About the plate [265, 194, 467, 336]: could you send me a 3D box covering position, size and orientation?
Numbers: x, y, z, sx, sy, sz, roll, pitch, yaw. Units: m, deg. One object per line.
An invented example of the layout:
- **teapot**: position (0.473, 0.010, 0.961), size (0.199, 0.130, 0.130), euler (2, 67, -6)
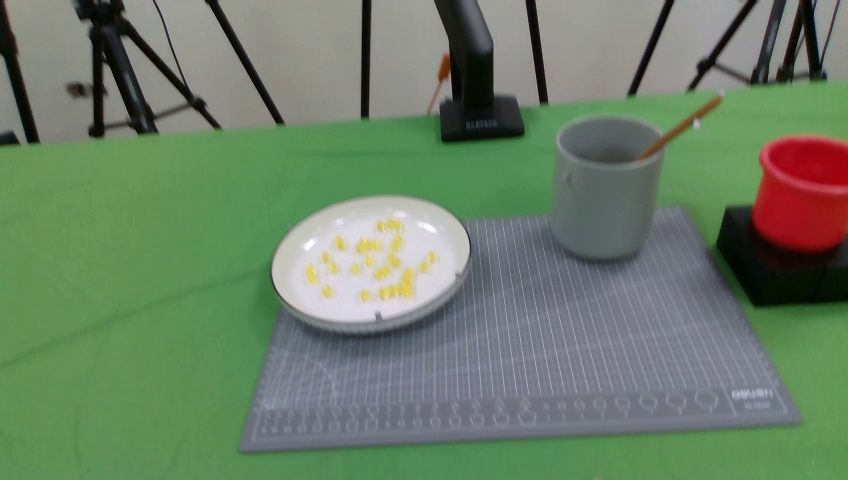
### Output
- **plate**: position (-0.058, 0.026, 0.634), size (0.207, 0.039, 0.205), euler (-3, 39, 3)

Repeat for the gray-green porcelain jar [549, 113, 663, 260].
- **gray-green porcelain jar**: position (0.184, -0.051, 0.628), size (0.106, 0.128, 0.105), euler (-4, 39, 3)

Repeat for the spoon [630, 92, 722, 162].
- **spoon**: position (0.208, -0.074, 0.584), size (0.041, 0.194, 0.021), euler (-30, 73, -40)
